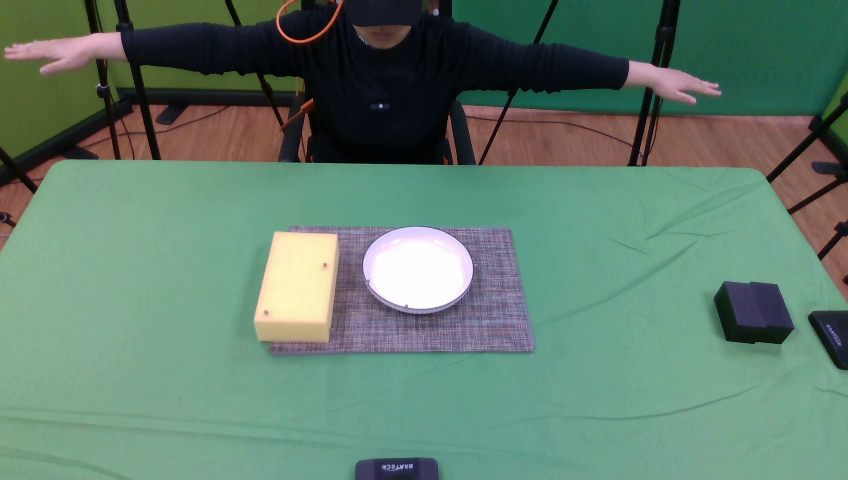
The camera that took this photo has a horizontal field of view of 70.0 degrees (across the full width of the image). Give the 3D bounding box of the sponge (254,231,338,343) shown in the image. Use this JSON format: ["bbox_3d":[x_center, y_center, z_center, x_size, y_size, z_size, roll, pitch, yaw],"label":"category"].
[{"bbox_3d":[-0.221,0.079,1.073,0.118,0.061,0.205,1,46,-3],"label":"sponge"}]

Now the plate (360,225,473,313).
[{"bbox_3d":[-0.014,0.057,1.126,0.208,0.039,0.206,2,46,-2],"label":"plate"}]
